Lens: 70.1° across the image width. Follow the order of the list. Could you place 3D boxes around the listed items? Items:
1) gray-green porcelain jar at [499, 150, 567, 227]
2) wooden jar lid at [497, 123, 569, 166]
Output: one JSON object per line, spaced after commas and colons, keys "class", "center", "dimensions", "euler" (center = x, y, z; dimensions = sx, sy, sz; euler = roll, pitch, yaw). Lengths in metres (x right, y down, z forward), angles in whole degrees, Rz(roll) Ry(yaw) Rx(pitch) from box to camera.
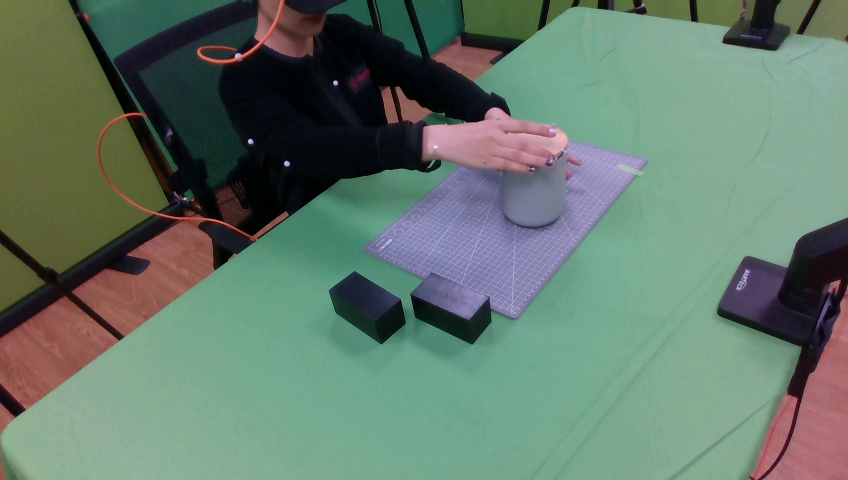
{"class": "gray-green porcelain jar", "center": [0.177, -0.093, 0.974], "dimensions": [0.106, 0.127, 0.105], "euler": [-5, 41, 5]}
{"class": "wooden jar lid", "center": [0.166, -0.145, 0.923], "dimensions": [0.108, 0.021, 0.108], "euler": [-3, 39, 3]}
